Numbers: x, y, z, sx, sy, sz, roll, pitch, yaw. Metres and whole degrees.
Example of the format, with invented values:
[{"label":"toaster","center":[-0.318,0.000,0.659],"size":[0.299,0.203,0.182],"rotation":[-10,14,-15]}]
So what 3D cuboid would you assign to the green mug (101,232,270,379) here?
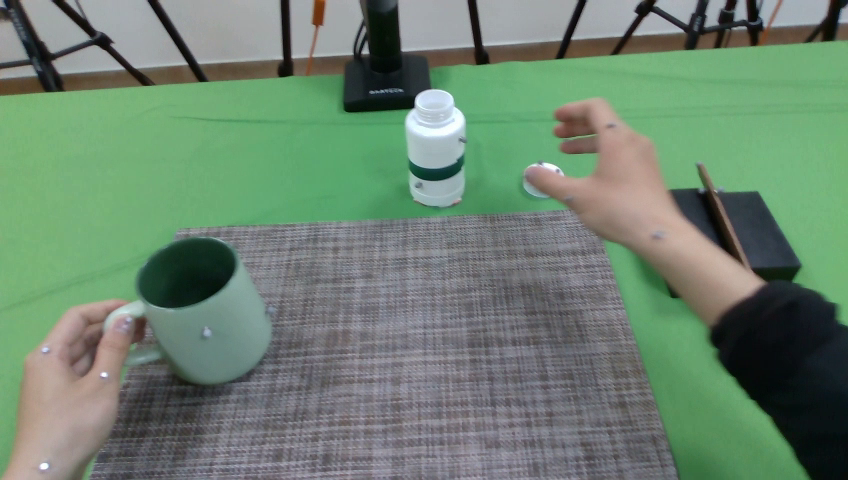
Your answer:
[{"label":"green mug","center":[-0.199,0.063,0.505],"size":[0.125,0.106,0.091],"rotation":[-23,50,-18]}]

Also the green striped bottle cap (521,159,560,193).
[{"label":"green striped bottle cap","center":[0.132,-0.072,0.686],"size":[0.044,0.020,0.044],"rotation":[-2,43,2]}]

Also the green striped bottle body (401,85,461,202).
[{"label":"green striped bottle body","center":[0.008,-0.104,0.649],"size":[0.063,0.120,0.062],"rotation":[-1,46,2]}]

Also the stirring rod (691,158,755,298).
[{"label":"stirring rod","center":[0.272,-0.018,0.558],"size":[0.006,0.014,0.174],"rotation":[-2,46,5]}]
